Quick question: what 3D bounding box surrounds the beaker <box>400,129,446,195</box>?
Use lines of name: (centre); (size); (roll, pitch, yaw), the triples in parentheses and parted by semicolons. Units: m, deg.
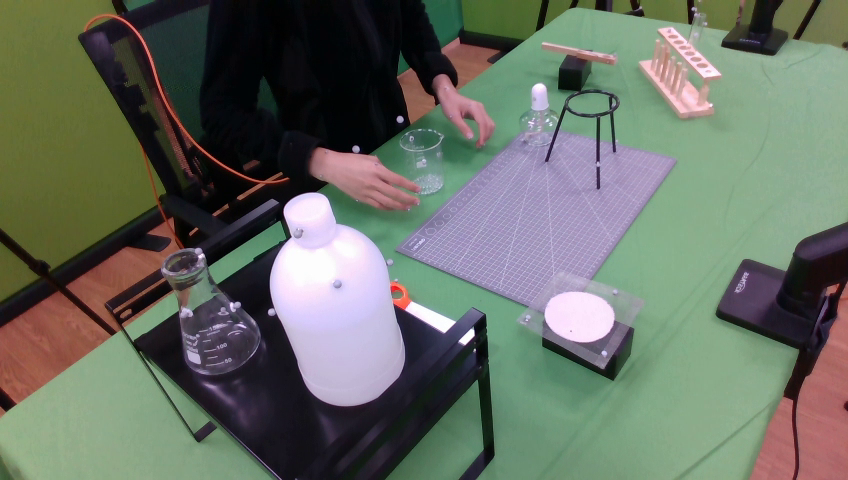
beaker: (0.004, -0.139, 1.087); (0.084, 0.101, 0.073); (-20, 42, -14)

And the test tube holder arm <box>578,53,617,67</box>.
test tube holder arm: (0.376, -0.393, 1.314); (0.087, 0.015, 0.010); (26, 50, 32)

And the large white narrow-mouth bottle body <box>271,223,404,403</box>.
large white narrow-mouth bottle body: (-0.077, 0.048, 0.525); (0.102, 0.195, 0.101); (-5, 40, 5)

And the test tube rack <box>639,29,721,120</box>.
test tube rack: (0.527, -0.351, 1.262); (0.067, 0.085, 0.241); (-8, 40, 1)

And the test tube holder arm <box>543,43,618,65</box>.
test tube holder arm: (0.345, -0.413, 1.340); (0.177, 0.015, 0.013); (25, 50, 31)

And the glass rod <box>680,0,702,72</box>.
glass rod: (0.542, -0.417, 1.233); (0.008, 0.200, 0.008); (1, 40, 0)

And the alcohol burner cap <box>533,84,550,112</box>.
alcohol burner cap: (0.218, -0.268, 1.133); (0.034, 0.048, 0.033); (-9, 36, 7)

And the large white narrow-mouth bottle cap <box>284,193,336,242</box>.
large white narrow-mouth bottle cap: (-0.087, -0.018, 0.467); (0.038, 0.024, 0.037); (-5, 40, 4)

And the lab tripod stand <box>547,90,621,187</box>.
lab tripod stand: (0.289, -0.184, 1.062); (0.148, 0.132, 0.147); (-6, 41, 6)

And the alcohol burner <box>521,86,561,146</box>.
alcohol burner: (0.223, -0.241, 1.155); (0.078, 0.119, 0.077); (-5, 43, 5)

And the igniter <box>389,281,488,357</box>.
igniter: (-0.030, 0.095, 0.872); (0.274, 0.025, 0.057); (23, 60, 31)

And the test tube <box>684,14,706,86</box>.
test tube: (0.540, -0.378, 1.215); (0.017, 0.151, 0.017); (-2, 44, 3)

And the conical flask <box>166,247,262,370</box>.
conical flask: (-0.208, 0.063, 0.584); (0.075, 0.122, 0.075); (-5, 40, 4)

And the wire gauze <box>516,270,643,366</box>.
wire gauze: (0.200, 0.093, 0.777); (0.124, 0.011, 0.122); (23, 49, 32)
